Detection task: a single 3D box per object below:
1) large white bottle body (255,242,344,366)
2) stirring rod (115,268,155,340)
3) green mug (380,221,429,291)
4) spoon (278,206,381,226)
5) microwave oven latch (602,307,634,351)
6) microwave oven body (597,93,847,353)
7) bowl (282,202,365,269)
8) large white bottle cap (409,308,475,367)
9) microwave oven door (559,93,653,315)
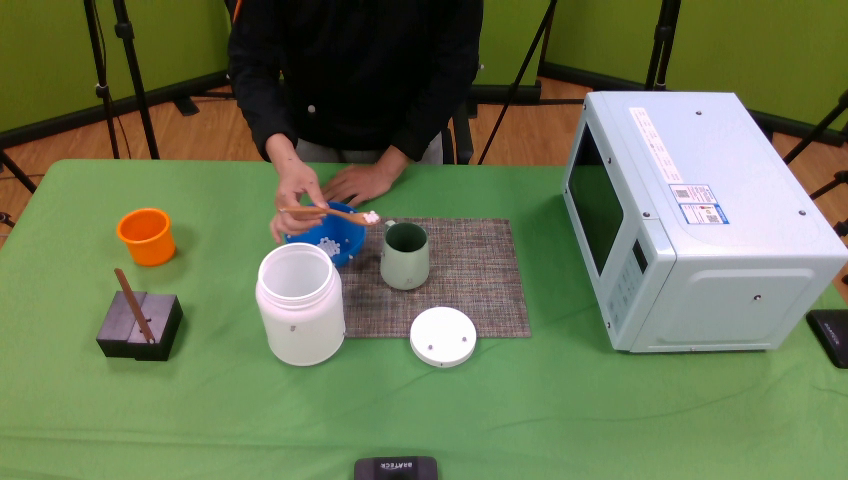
[{"bbox_3d":[-0.196,0.102,0.967,0.131,0.185,0.130,2,49,-2],"label":"large white bottle body"},{"bbox_3d":[-0.478,0.103,0.999,0.014,0.006,0.175,7,32,-49],"label":"stirring rod"},{"bbox_3d":[-0.043,0.020,1.116,0.092,0.105,0.124,-20,50,-21],"label":"green mug"},{"bbox_3d":[-0.151,-0.043,0.994,0.194,0.021,0.041,9,26,-43],"label":"spoon"},{"bbox_3d":[0.332,0.153,1.044,0.030,0.029,0.078,-1,45,-4],"label":"microwave oven latch"},{"bbox_3d":[0.475,-0.041,1.109,0.326,0.261,0.438,-1,45,-4],"label":"microwave oven body"},{"bbox_3d":[-0.186,0.006,1.136,0.151,0.077,0.150,3,46,-3],"label":"bowl"},{"bbox_3d":[0.031,0.165,1.041,0.115,0.018,0.114,2,47,-2],"label":"large white bottle cap"},{"bbox_3d":[0.327,-0.074,1.123,0.039,0.245,0.353,-1,46,-5],"label":"microwave oven door"}]
